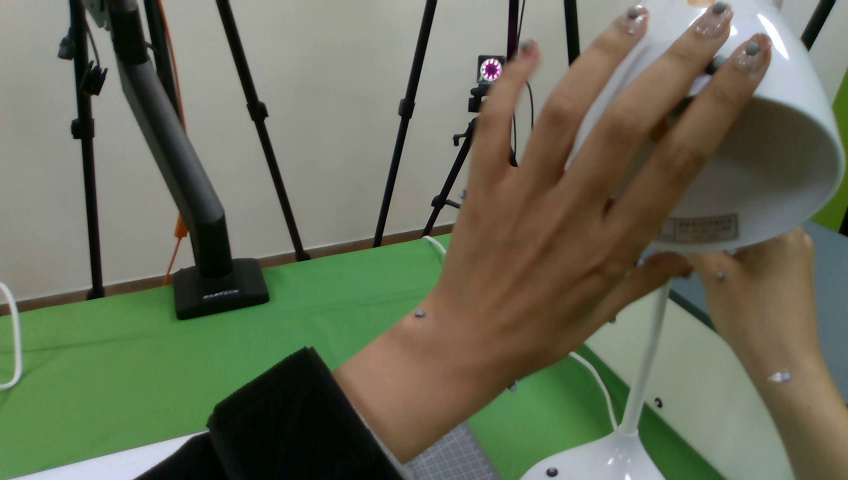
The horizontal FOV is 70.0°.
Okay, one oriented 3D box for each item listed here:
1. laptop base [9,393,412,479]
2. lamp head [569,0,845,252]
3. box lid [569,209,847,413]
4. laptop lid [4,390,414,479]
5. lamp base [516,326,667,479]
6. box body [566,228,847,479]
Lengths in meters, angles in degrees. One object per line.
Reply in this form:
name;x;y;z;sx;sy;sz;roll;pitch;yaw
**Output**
laptop base;-0.177;0.249;0.504;0.355;0.023;0.233;-10;32;-19
lamp head;0.132;-0.068;0.299;0.112;0.113;0.122;7;53;12
box lid;0.350;0.027;0.621;0.264;0.015;0.367;-10;30;-21
laptop lid;-0.176;0.240;0.496;0.358;0.013;0.239;-9;31;-17
lamp base;0.154;0.169;0.484;0.160;0.181;0.178;11;27;18
box body;0.350;0.094;0.654;0.255;0.161;0.360;-11;30;-20
